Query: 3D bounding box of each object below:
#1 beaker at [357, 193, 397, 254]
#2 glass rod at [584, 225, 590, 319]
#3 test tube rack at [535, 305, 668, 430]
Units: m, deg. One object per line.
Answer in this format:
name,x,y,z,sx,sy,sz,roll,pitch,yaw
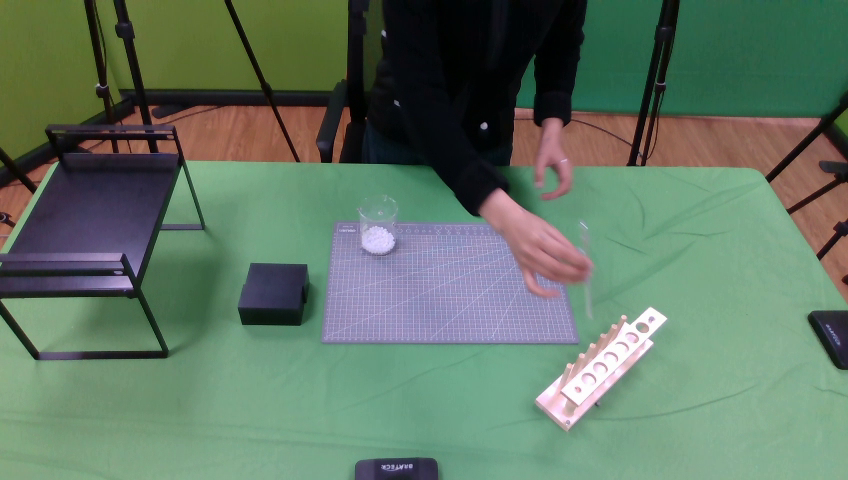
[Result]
beaker,-0.088,-0.030,1.159,0.074,0.101,0.083,14,47,9
glass rod,0.232,0.050,0.860,0.008,0.201,0.008,-8,45,8
test tube rack,0.290,0.193,0.984,0.242,0.085,0.066,-32,57,-30
